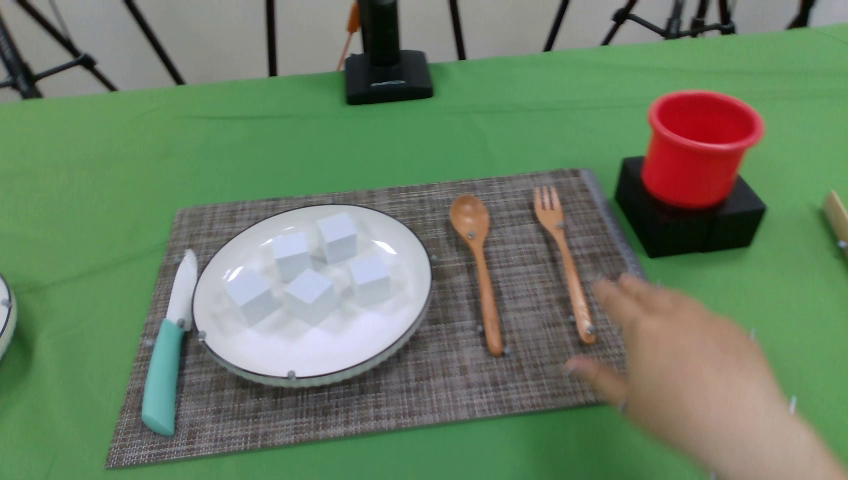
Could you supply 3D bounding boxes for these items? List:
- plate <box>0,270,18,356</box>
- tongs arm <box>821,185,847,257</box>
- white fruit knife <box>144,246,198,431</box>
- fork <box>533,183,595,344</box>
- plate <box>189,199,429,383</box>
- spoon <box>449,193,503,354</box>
[{"bbox_3d":[-0.453,0.096,0.510,0.209,0.038,0.207,-1,43,1],"label":"plate"},{"bbox_3d":[0.401,0.085,0.485,0.028,0.028,0.384,3,44,3],"label":"tongs arm"},{"bbox_3d":[-0.219,0.075,0.534,0.027,0.016,0.205,14,36,-23],"label":"white fruit knife"},{"bbox_3d":[0.132,0.013,0.576,0.028,0.019,0.205,1,41,-5],"label":"fork"},{"bbox_3d":[-0.098,0.044,0.543,0.207,0.039,0.205,-1,44,1],"label":"plate"},{"bbox_3d":[0.051,0.024,0.567,0.042,0.022,0.191,8,41,-14],"label":"spoon"}]
